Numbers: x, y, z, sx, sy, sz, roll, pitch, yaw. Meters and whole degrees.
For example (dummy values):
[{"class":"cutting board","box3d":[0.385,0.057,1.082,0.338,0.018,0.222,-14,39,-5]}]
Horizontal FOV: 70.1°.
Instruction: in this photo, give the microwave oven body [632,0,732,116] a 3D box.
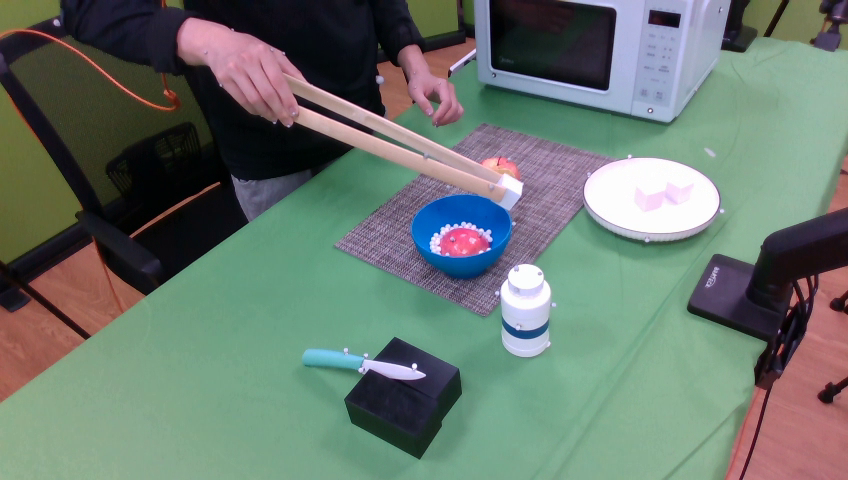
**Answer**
[{"class":"microwave oven body","box3d":[0.377,-0.462,1.267,0.438,0.261,0.327,21,48,30]}]

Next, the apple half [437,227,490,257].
[{"class":"apple half","box3d":[0.056,0.001,0.901,0.081,0.033,0.081,-3,42,3]}]

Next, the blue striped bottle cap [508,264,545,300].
[{"class":"blue striped bottle cap","box3d":[0.125,0.050,0.735,0.044,0.021,0.044,-6,39,5]}]

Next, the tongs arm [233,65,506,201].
[{"class":"tongs arm","box3d":[-0.071,-0.140,0.801,0.386,0.026,0.050,20,46,-6]}]

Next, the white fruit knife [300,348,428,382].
[{"class":"white fruit knife","box3d":[-0.080,0.154,0.748,0.206,0.027,0.016,1,20,35]}]

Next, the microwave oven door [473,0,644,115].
[{"class":"microwave oven door","box3d":[0.257,-0.396,1.199,0.353,0.245,0.039,21,48,29]}]

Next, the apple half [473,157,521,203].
[{"class":"apple half","box3d":[0.127,-0.106,1.030,0.080,0.075,0.053,4,37,19]}]

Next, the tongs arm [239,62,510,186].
[{"class":"tongs arm","box3d":[-0.065,-0.155,0.818,0.388,0.028,0.028,23,49,-3]}]

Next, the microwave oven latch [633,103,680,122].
[{"class":"microwave oven latch","box3d":[0.444,-0.249,1.157,0.078,0.029,0.030,21,48,30]}]

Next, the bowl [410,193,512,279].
[{"class":"bowl","box3d":[0.058,0.005,0.905,0.151,0.077,0.150,-4,40,4]}]

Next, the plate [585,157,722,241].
[{"class":"plate","box3d":[0.367,-0.063,0.979,0.207,0.039,0.206,-4,40,4]}]

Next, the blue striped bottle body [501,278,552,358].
[{"class":"blue striped bottle body","box3d":[0.129,0.089,0.769,0.063,0.121,0.063,-4,40,4]}]
